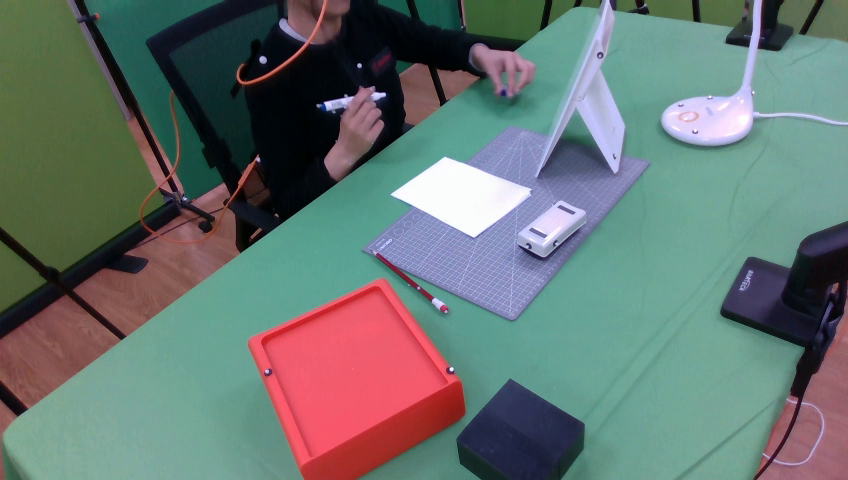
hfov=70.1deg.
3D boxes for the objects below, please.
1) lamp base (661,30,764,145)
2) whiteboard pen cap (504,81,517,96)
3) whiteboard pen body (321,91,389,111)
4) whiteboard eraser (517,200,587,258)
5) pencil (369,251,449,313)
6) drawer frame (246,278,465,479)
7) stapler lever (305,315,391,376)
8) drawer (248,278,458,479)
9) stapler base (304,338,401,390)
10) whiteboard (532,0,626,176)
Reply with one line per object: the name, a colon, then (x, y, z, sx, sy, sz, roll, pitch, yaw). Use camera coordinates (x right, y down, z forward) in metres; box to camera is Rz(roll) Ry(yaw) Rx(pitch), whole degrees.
lamp base: (0.535, -0.287, 1.096, 0.179, 0.181, 0.159, -10, 40, -4)
whiteboard pen cap: (0.181, -0.319, 1.273, 0.018, 0.018, 0.033, 21, 56, 31)
whiteboard pen body: (-0.127, -0.263, 1.132, 0.141, 0.017, 0.017, -20, 40, -28)
whiteboard eraser: (0.201, -0.016, 0.943, 0.113, 0.042, 0.055, -37, 46, -29)
pencil: (-0.028, 0.060, 0.924, 0.012, 0.012, 0.192, -33, 46, -25)
drawer frame: (-0.088, 0.168, 0.752, 0.202, 0.083, 0.211, -24, 43, -18)
stapler lever: (-0.100, 0.136, 0.790, 0.118, 0.040, 0.026, -23, 43, -12)
drawer: (-0.092, 0.167, 0.756, 0.195, 0.073, 0.210, -23, 43, -18)
stapler base: (-0.096, 0.160, 0.813, 0.131, 0.024, 0.041, -17, 42, -18)
whiteboard: (0.321, -0.258, 1.049, 0.144, 0.306, 0.217, 21, 45, 5)
